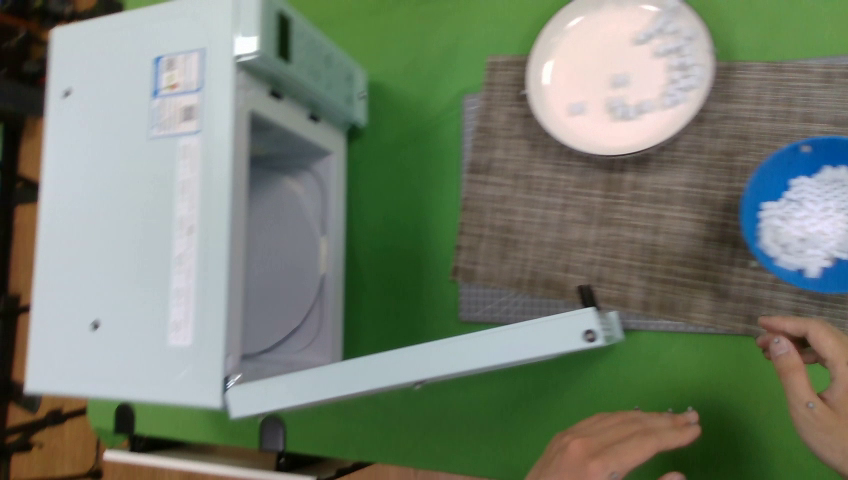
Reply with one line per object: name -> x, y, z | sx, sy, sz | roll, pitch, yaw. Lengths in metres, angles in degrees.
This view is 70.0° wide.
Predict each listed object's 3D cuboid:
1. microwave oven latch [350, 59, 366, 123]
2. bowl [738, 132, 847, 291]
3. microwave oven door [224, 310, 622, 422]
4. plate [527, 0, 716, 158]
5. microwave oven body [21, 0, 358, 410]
microwave oven latch -> -0.095, -0.201, 0.818 | 0.030, 0.030, 0.079 | -2, 83, 20
bowl -> 0.391, -0.022, 0.601 | 0.151, 0.077, 0.151 | -3, 82, 21
microwave oven door -> 0.014, 0.126, 0.625 | 0.355, 0.245, 0.039 | -16, 77, 18
plate -> 0.227, -0.194, 0.708 | 0.208, 0.038, 0.208 | -3, 81, 21
microwave oven body -> -0.271, -0.033, 0.759 | 0.325, 0.262, 0.440 | -2, 83, 20
